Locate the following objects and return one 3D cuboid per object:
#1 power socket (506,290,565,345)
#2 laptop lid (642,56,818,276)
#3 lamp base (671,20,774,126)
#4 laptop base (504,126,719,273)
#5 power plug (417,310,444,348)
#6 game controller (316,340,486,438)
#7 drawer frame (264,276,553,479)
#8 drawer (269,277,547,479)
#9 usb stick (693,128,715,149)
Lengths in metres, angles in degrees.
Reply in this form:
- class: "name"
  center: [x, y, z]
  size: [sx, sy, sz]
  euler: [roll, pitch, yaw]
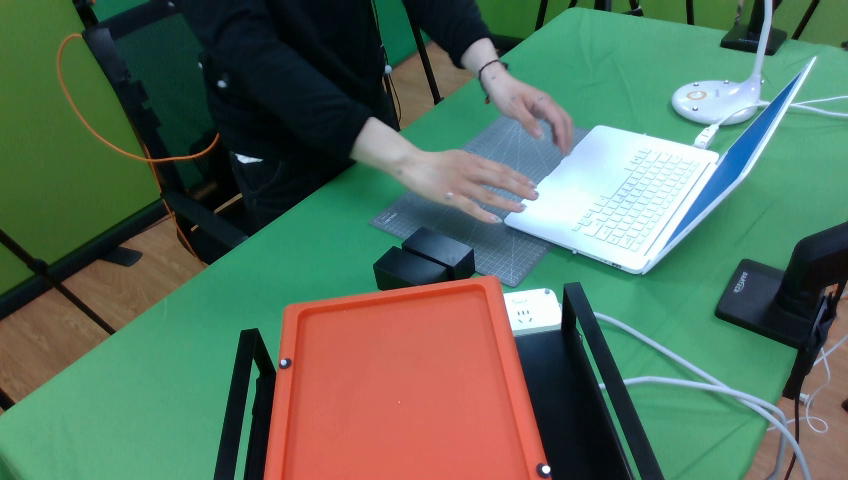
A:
- class: "power socket"
  center: [0.081, 0.112, 0.822]
  size: [0.227, 0.033, 0.072]
  euler: [-7, 40, 0]
- class: "laptop lid"
  center: [0.445, -0.108, 0.876]
  size: [0.013, 0.241, 0.357]
  euler: [39, 53, 12]
- class: "lamp base"
  center: [0.581, -0.332, 1.154]
  size: [0.179, 0.181, 0.160]
  euler: [2, 42, 7]
- class: "laptop base"
  center: [0.325, -0.084, 1.027]
  size: [0.233, 0.023, 0.355]
  euler: [21, 48, 32]
- class: "power plug"
  center: [0.007, 0.123, 0.784]
  size: [0.035, 0.053, 0.072]
  euler: [-1, 43, 8]
- class: "game controller"
  center: [-0.021, 0.120, 0.534]
  size: [0.155, 0.052, 0.096]
  euler: [-4, 36, 0]
- class: "drawer frame"
  center: [-0.016, 0.137, 0.490]
  size: [0.202, 0.083, 0.212]
  euler: [-8, 41, -1]
- class: "drawer"
  center: [-0.018, 0.137, 0.493]
  size: [0.195, 0.073, 0.210]
  euler: [-7, 41, -1]
- class: "usb stick"
  center: [0.501, -0.176, 1.091]
  size: [0.021, 0.027, 0.059]
  euler: [30, 56, 28]
